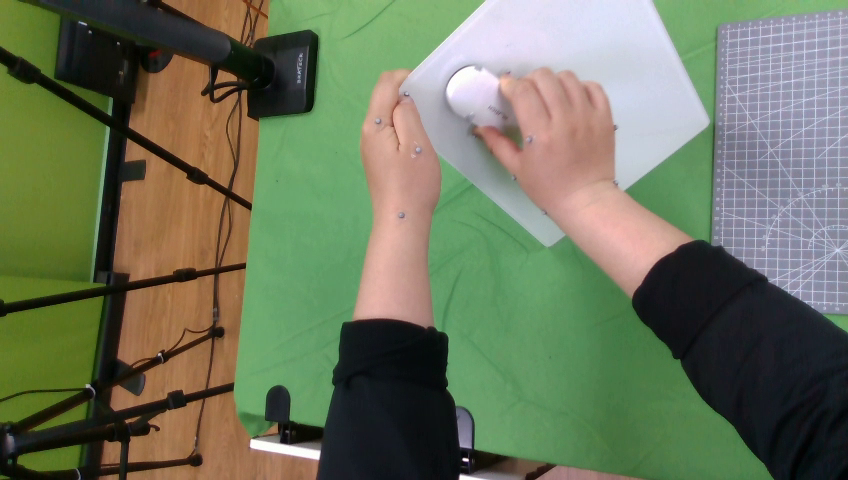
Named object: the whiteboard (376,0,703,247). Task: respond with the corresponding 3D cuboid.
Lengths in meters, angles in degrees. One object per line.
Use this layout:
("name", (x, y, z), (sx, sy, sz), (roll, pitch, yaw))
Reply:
("whiteboard", (0.107, -0.163, 0.604), (0.217, 0.309, 0.142), (-39, 49, 17))

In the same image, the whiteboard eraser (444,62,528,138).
("whiteboard eraser", (0.054, -0.117, 0.513), (0.041, 0.102, 0.018), (-51, 54, 17))
